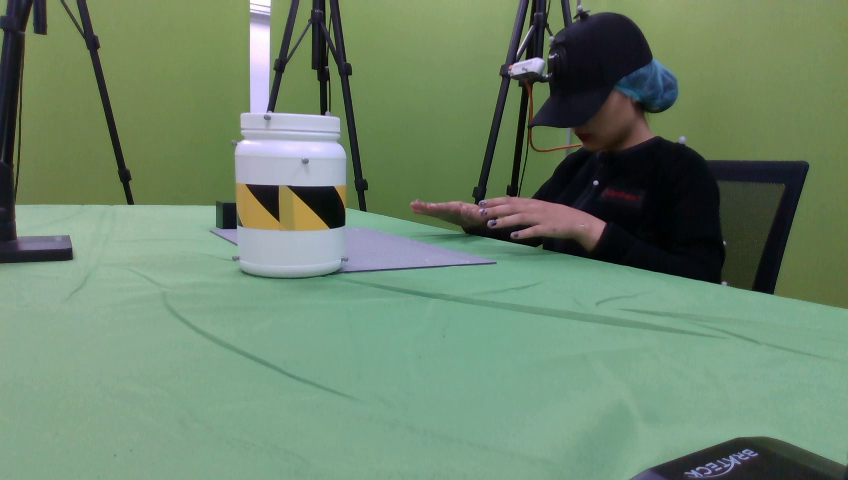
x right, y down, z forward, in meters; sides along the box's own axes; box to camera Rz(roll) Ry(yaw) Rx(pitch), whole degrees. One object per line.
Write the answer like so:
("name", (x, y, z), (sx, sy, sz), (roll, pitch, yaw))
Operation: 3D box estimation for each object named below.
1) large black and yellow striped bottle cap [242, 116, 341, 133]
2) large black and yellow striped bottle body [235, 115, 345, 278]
("large black and yellow striped bottle cap", (-0.157, -0.137, 0.718), (0.115, 0.019, 0.115), (1, 10, 0))
("large black and yellow striped bottle body", (-0.160, -0.055, 0.732), (0.131, 0.184, 0.130), (2, 9, 0))
